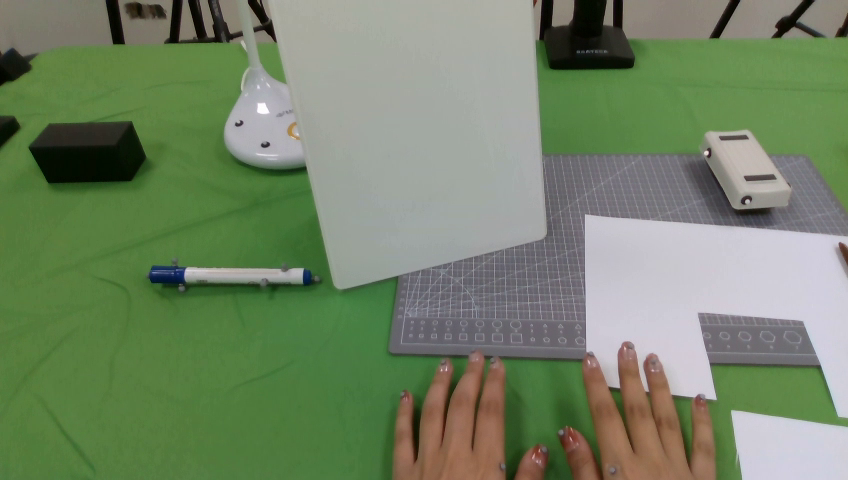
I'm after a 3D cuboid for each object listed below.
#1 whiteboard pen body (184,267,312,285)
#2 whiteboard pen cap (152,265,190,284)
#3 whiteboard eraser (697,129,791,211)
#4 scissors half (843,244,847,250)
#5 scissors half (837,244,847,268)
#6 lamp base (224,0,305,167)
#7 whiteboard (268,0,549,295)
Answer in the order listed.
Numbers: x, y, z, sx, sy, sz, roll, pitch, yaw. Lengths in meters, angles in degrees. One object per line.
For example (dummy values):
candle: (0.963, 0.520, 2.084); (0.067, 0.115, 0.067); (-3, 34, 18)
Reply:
whiteboard pen body: (-0.176, 0.033, 0.569); (0.141, 0.017, 0.017); (1, 42, -1)
whiteboard pen cap: (-0.236, 0.032, 0.568); (0.033, 0.018, 0.018); (2, 42, -4)
whiteboard eraser: (0.335, -0.073, 0.641); (0.055, 0.042, 0.111); (-1, 42, 0)
scissors half: (0.383, 0.062, 0.518); (0.040, 0.013, 0.174); (-5, 40, 24)
scissors half: (0.402, 0.059, 0.512); (0.040, 0.013, 0.173); (-14, 38, 6)
lamp base: (-0.179, -0.203, 0.711); (0.160, 0.182, 0.177); (-35, 49, -30)
whiteboard: (-0.017, -0.136, 0.580); (0.217, 0.307, 0.142); (-14, 24, -10)
